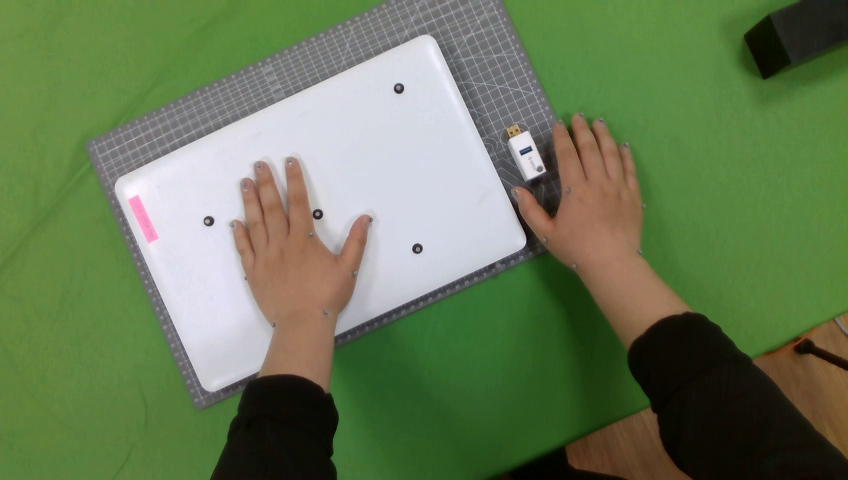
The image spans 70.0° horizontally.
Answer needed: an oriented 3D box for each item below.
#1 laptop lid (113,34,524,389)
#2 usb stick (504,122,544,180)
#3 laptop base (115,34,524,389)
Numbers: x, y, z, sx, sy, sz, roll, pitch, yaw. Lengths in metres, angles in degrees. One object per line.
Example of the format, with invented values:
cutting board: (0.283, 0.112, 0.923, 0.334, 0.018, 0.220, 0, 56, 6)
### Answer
laptop lid: (-0.105, -0.026, 0.597, 0.357, 0.013, 0.241, -24, 90, 2)
usb stick: (0.096, -0.090, 0.593, 0.021, 0.027, 0.059, -25, 83, 5)
laptop base: (-0.106, -0.028, 0.607, 0.354, 0.023, 0.235, -25, 90, 1)
